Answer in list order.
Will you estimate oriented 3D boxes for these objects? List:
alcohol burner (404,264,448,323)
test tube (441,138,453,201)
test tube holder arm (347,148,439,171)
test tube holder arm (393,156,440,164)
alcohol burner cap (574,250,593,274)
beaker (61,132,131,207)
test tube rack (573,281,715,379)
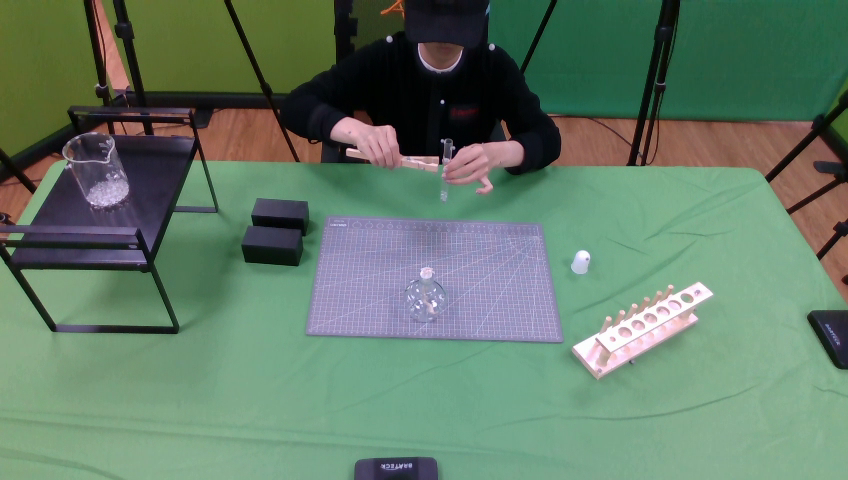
[{"bbox_3d":[0.003,0.087,1.042,0.078,0.120,0.077,1,45,0],"label":"alcohol burner"},{"bbox_3d":[0.042,-0.128,1.131,0.017,0.151,0.017,1,48,-1],"label":"test tube"},{"bbox_3d":[-0.059,-0.151,1.128,0.178,0.015,0.013,10,38,10],"label":"test tube holder arm"},{"bbox_3d":[-0.015,-0.149,1.128,0.088,0.015,0.010,-1,39,-4],"label":"test tube holder arm"},{"bbox_3d":[0.308,0.039,1.163,0.034,0.048,0.033,1,46,-1],"label":"alcohol burner cap"},{"bbox_3d":[-0.512,-0.107,0.959,0.083,0.101,0.074,29,51,22],"label":"beaker"},{"bbox_3d":[0.378,0.140,1.038,0.242,0.085,0.066,-22,51,-23],"label":"test tube rack"}]
